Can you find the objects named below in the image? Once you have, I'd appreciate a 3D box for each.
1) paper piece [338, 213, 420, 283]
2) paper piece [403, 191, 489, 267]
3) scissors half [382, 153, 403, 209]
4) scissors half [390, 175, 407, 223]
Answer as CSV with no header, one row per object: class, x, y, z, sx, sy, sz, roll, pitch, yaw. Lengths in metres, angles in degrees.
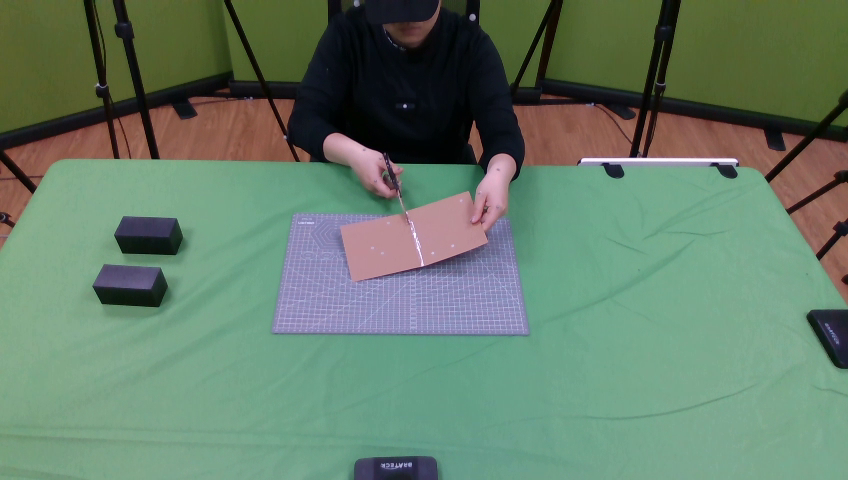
paper piece,-0.088,0.012,1.164,0.135,0.004,0.135,-12,55,-7
paper piece,0.040,-0.024,1.170,0.138,0.009,0.135,-17,61,1
scissors half,-0.058,-0.104,1.230,0.013,0.040,0.174,-20,70,2
scissors half,-0.054,-0.092,1.248,0.013,0.040,0.174,-17,45,-2
